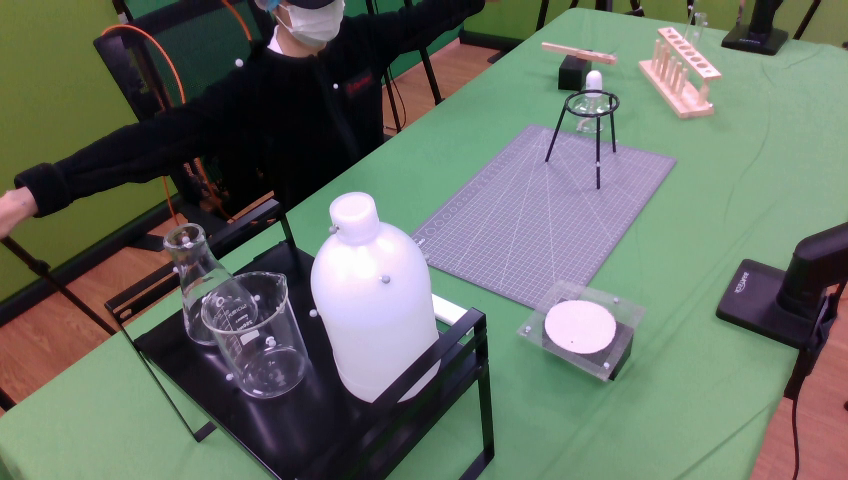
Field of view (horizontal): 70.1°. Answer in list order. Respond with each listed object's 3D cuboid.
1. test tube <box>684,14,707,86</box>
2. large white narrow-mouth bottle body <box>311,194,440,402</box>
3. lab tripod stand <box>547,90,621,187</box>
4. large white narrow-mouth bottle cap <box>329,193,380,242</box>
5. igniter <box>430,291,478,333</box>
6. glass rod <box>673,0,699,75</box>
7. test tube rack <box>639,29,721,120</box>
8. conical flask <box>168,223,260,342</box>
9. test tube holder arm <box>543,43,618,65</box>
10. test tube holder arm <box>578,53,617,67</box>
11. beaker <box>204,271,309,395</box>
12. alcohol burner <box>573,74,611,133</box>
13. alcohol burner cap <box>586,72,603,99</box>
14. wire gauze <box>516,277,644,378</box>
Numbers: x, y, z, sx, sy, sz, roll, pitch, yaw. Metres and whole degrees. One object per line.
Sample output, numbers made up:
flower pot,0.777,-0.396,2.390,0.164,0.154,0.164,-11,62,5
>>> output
test tube,0.541,-0.379,1.216,0.017,0.151,0.017,-2,44,2
large white narrow-mouth bottle body,-0.043,0.046,0.522,0.102,0.195,0.101,-5,40,5
lab tripod stand,0.289,-0.184,1.062,0.148,0.132,0.147,-6,41,6
large white narrow-mouth bottle cap,-0.053,-0.018,0.466,0.038,0.024,0.037,-5,40,4
igniter,-0.038,0.068,0.905,0.274,0.025,0.057,24,60,32
glass rod,0.541,-0.427,1.246,0.008,0.200,0.008,0,48,1
test tube rack,0.527,-0.351,1.262,0.067,0.085,0.241,-8,40,1
conical flask,-0.219,0.040,0.614,0.075,0.122,0.075,-5,40,4
test tube holder arm,0.345,-0.413,1.341,0.177,0.015,0.013,25,50,31
test tube holder arm,0.376,-0.393,1.314,0.087,0.015,0.010,26,51,32
beaker,-0.149,0.088,0.565,0.073,0.101,0.084,21,47,29
alcohol burner,0.330,-0.270,1.176,0.078,0.119,0.077,-4,43,4
alcohol burner cap,0.325,-0.297,1.154,0.034,0.048,0.033,-8,35,6
wire gauze,0.197,0.103,0.765,0.124,0.011,0.122,23,50,32
